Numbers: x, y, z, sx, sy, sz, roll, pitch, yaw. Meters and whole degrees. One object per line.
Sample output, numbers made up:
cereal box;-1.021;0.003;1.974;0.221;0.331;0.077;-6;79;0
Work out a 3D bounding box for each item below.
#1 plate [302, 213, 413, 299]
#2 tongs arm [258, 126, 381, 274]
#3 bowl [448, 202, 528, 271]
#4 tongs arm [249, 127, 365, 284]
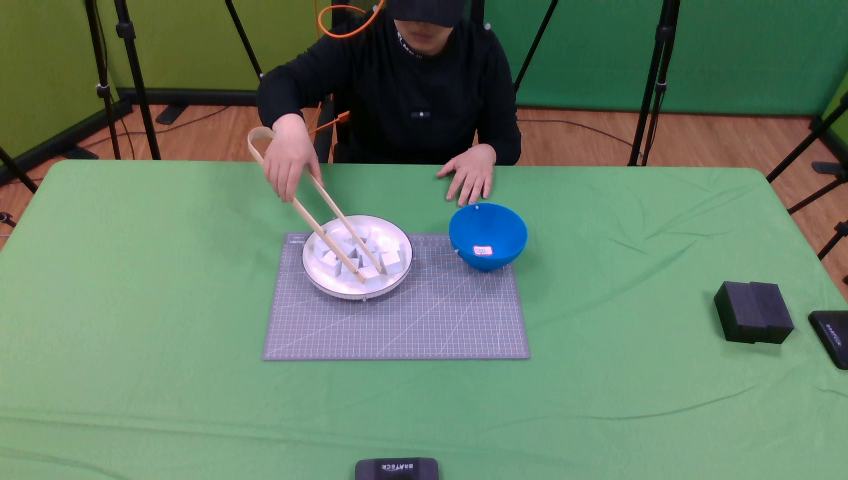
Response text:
plate;-0.124;0.033;1.143;0.208;0.039;0.206;2;46;-2
tongs arm;-0.200;-0.082;1.144;0.028;0.028;0.386;-33;71;-23
bowl;0.118;0.006;1.160;0.151;0.077;0.150;2;46;-2
tongs arm;-0.219;-0.071;1.133;0.051;0.026;0.383;-36;72;-28
